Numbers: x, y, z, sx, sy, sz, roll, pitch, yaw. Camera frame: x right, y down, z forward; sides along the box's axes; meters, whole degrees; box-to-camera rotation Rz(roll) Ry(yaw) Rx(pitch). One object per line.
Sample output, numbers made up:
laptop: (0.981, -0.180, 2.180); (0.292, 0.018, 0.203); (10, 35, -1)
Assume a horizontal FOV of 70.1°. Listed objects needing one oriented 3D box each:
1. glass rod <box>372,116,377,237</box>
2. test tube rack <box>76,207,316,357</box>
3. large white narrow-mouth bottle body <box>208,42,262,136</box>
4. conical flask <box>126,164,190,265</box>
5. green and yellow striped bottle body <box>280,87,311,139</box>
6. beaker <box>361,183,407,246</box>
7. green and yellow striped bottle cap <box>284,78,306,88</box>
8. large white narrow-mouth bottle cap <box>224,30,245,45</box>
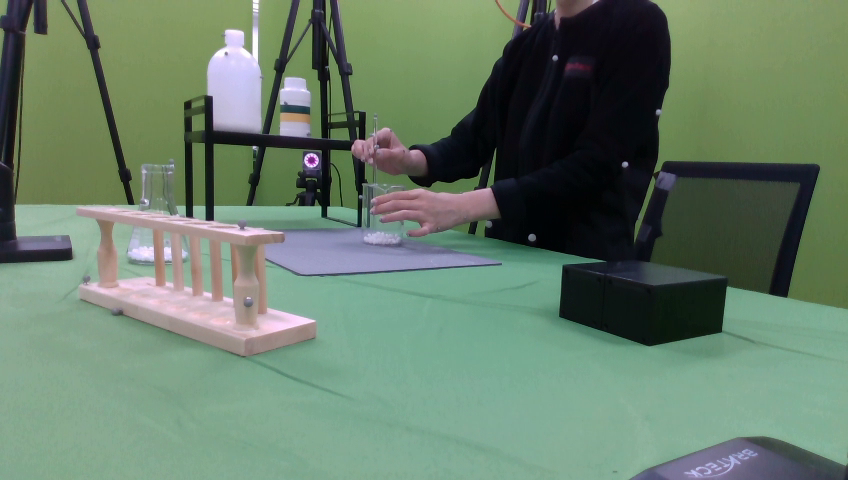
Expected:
glass rod: (-0.082, -0.104, 1.002); (0.008, 0.199, 0.008); (1, 4, 0)
test tube rack: (-0.196, 0.023, 0.500); (0.241, 0.085, 0.067); (8, 9, 36)
large white narrow-mouth bottle body: (-0.369, -0.304, 1.181); (0.102, 0.194, 0.101); (2, 9, 0)
conical flask: (-0.332, -0.033, 0.756); (0.075, 0.122, 0.075); (2, 7, 0)
green and yellow striped bottle body: (-0.269, -0.274, 1.266); (0.063, 0.119, 0.063); (3, 7, 0)
beaker: (-0.067, -0.043, 0.993); (0.074, 0.100, 0.084); (1, 8, -7)
green and yellow striped bottle cap: (-0.268, -0.325, 1.259); (0.045, 0.020, 0.045); (5, 7, 0)
large white narrow-mouth bottle cap: (-0.365, -0.389, 1.166); (0.038, 0.024, 0.037); (2, 9, 0)
